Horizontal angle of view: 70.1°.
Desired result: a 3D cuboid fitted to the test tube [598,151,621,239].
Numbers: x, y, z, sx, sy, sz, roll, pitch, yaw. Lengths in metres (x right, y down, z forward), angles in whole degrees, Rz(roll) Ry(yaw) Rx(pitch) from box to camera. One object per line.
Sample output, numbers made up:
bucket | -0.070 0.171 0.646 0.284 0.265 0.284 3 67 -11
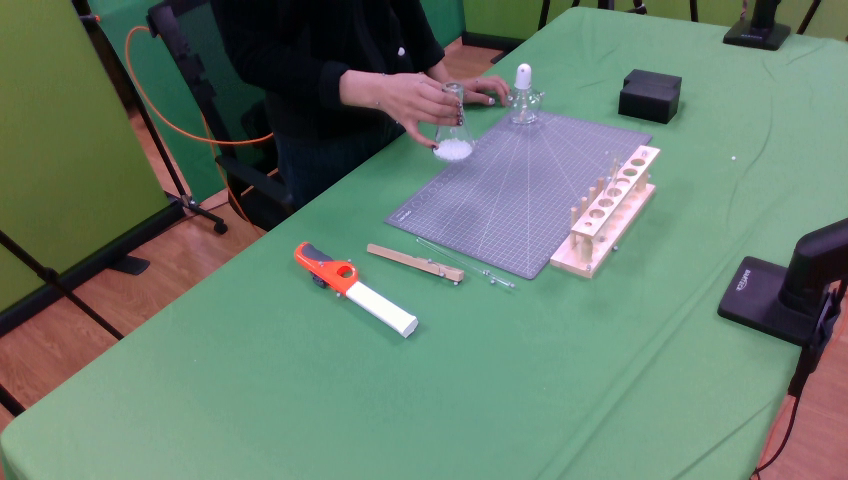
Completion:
test tube | 0.269 -0.062 0.880 0.017 0.151 0.017 -3 39 3

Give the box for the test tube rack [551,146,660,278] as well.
test tube rack | 0.286 -0.053 0.943 0.066 0.085 0.243 21 49 32

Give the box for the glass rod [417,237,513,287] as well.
glass rod | 0.059 0.032 0.944 0.198 0.008 0.008 26 52 38

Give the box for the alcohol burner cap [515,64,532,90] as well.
alcohol burner cap | 0.199 -0.325 1.198 0.034 0.048 0.033 0 46 1

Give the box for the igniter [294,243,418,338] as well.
igniter | -0.114 0.070 0.919 0.274 0.025 0.057 29 63 37

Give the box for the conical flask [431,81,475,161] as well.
conical flask | 0.048 -0.198 0.997 0.075 0.122 0.075 -2 37 2

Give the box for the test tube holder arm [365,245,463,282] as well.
test tube holder arm | -0.019 0.035 0.947 0.177 0.015 0.013 16 11 27

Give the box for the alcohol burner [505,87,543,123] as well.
alcohol burner | 0.202 -0.298 1.222 0.078 0.119 0.077 -4 40 4

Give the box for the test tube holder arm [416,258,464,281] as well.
test tube holder arm | 0.022 0.045 0.932 0.087 0.015 0.010 16 11 28
